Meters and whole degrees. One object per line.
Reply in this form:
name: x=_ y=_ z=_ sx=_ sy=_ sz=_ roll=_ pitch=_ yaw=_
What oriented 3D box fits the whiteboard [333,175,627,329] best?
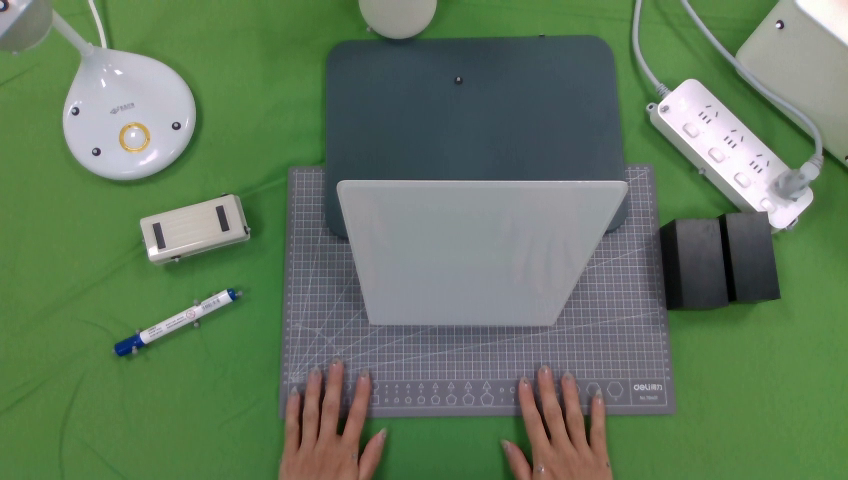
whiteboard: x=0.043 y=-0.031 z=0.603 sx=0.217 sy=0.308 sz=0.142 roll=1 pitch=63 yaw=0

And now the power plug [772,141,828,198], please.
power plug: x=0.442 y=-0.076 z=0.710 sx=0.072 sy=0.053 sz=0.035 roll=-31 pitch=79 yaw=-11

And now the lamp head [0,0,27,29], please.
lamp head: x=-0.326 y=-0.200 z=0.393 sx=0.112 sy=0.124 sz=0.111 roll=-24 pitch=45 yaw=26

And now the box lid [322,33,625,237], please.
box lid: x=0.060 y=-0.134 z=0.752 sx=0.372 sy=0.015 sz=0.262 roll=-2 pitch=78 yaw=-1

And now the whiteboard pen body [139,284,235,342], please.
whiteboard pen body: x=-0.283 y=0.089 z=0.698 sx=0.141 sy=0.017 sz=0.017 roll=-28 pitch=80 yaw=-5

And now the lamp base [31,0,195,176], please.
lamp base: x=-0.369 y=-0.182 z=0.670 sx=0.160 sy=0.181 sz=0.178 roll=-31 pitch=78 yaw=-7

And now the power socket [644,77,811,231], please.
power socket: x=0.370 y=-0.106 z=0.739 sx=0.072 sy=0.033 sz=0.226 roll=-41 pitch=81 yaw=-9

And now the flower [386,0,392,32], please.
flower: x=-0.027 y=-0.355 z=0.617 sx=0.044 sy=0.364 sz=0.038 roll=37 pitch=64 yaw=13

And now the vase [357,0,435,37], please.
vase: x=-0.033 y=-0.322 z=0.694 sx=0.098 sy=0.201 sz=0.097 roll=0 pitch=77 yaw=-1

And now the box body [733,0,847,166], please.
box body: x=0.585 y=-0.205 z=0.696 sx=0.363 sy=0.161 sz=0.254 roll=44 pitch=81 yaw=8

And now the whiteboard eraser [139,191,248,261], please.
whiteboard eraser: x=-0.268 y=-0.017 z=0.708 sx=0.113 sy=0.042 sz=0.055 roll=-17 pitch=81 yaw=-4

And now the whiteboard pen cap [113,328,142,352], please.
whiteboard pen cap: x=-0.336 y=0.113 z=0.692 sx=0.033 sy=0.018 sz=0.018 roll=-28 pitch=80 yaw=-4
